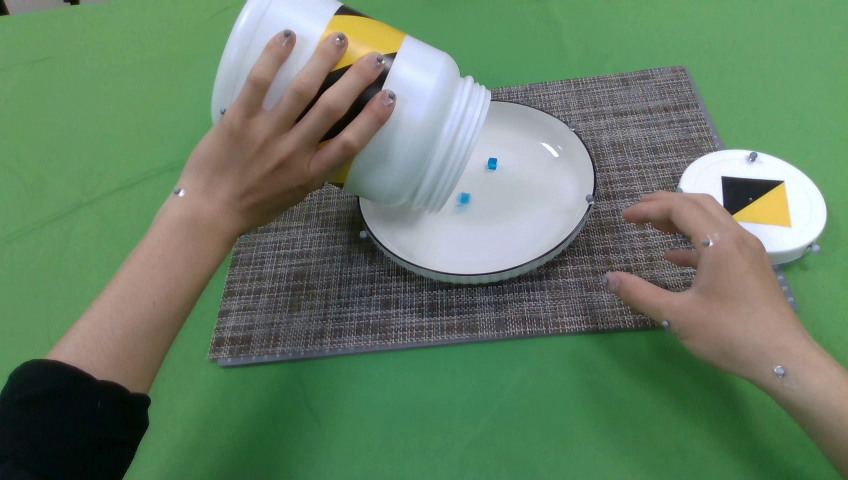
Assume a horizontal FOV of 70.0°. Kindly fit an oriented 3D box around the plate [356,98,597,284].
[{"bbox_3d":[0.045,-0.044,0.536,0.207,0.039,0.205,-4,52,6],"label":"plate"}]

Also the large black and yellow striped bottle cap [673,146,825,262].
[{"bbox_3d":[0.268,-0.033,0.503,0.115,0.019,0.114,-2,54,3],"label":"large black and yellow striped bottle cap"}]

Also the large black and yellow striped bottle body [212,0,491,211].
[{"bbox_3d":[-0.052,-0.107,0.474,0.184,0.131,0.130,23,55,-8],"label":"large black and yellow striped bottle body"}]
